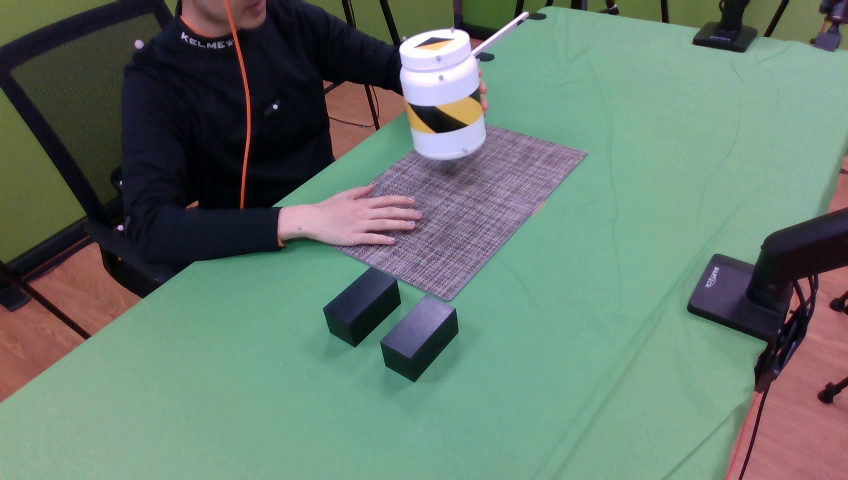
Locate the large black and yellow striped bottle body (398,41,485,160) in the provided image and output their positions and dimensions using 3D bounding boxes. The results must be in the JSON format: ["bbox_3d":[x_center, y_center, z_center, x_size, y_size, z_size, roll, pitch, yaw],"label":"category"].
[{"bbox_3d":[0.030,-0.245,1.029,0.130,0.185,0.130,-8,37,6],"label":"large black and yellow striped bottle body"}]

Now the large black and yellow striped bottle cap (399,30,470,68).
[{"bbox_3d":[0.016,-0.310,0.980,0.115,0.019,0.114,-8,38,7],"label":"large black and yellow striped bottle cap"}]
